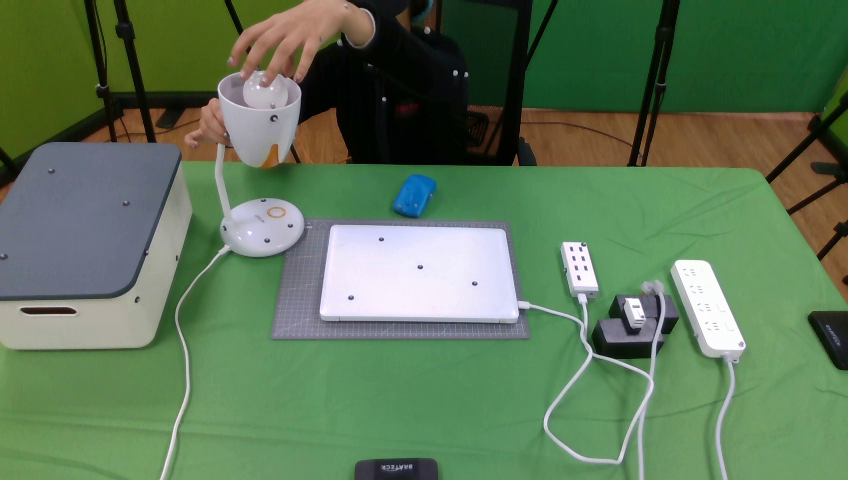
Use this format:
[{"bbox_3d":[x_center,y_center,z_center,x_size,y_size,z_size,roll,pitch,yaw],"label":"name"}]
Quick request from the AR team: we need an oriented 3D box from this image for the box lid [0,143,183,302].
[{"bbox_3d":[-0.567,-0.045,0.999,0.263,0.015,0.369,-1,46,-4],"label":"box lid"}]

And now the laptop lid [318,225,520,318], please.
[{"bbox_3d":[-0.009,0.052,1.131,0.357,0.013,0.240,2,43,-2],"label":"laptop lid"}]

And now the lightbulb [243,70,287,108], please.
[{"bbox_3d":[-0.228,-0.187,0.859,0.059,0.108,0.059,11,36,-8],"label":"lightbulb"}]

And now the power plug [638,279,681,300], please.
[{"bbox_3d":[0.434,0.099,1.119,0.073,0.053,0.035,34,38,-16],"label":"power plug"}]

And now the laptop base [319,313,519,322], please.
[{"bbox_3d":[-0.009,0.062,1.138,0.354,0.023,0.234,1,42,-3],"label":"laptop base"}]

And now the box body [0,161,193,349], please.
[{"bbox_3d":[-0.570,0.006,1.054,0.254,0.161,0.361,-1,46,-4],"label":"box body"}]

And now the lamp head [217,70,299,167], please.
[{"bbox_3d":[-0.240,-0.170,0.876,0.112,0.123,0.111,9,45,-9],"label":"lamp head"}]

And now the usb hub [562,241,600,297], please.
[{"bbox_3d":[0.300,0.054,1.162,0.049,0.025,0.124,2,46,-3],"label":"usb hub"}]

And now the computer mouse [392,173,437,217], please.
[{"bbox_3d":[-0.018,-0.098,1.282,0.062,0.041,0.117,20,51,13],"label":"computer mouse"}]

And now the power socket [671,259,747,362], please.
[{"bbox_3d":[0.516,0.119,1.108,0.072,0.033,0.225,1,46,-2],"label":"power socket"}]

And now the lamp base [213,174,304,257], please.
[{"bbox_3d":[-0.324,-0.074,1.135,0.160,0.181,0.179,28,53,24],"label":"lamp base"}]

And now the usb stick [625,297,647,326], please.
[{"bbox_3d":[0.360,0.116,1.034,0.021,0.027,0.059,-2,44,-2],"label":"usb stick"}]
